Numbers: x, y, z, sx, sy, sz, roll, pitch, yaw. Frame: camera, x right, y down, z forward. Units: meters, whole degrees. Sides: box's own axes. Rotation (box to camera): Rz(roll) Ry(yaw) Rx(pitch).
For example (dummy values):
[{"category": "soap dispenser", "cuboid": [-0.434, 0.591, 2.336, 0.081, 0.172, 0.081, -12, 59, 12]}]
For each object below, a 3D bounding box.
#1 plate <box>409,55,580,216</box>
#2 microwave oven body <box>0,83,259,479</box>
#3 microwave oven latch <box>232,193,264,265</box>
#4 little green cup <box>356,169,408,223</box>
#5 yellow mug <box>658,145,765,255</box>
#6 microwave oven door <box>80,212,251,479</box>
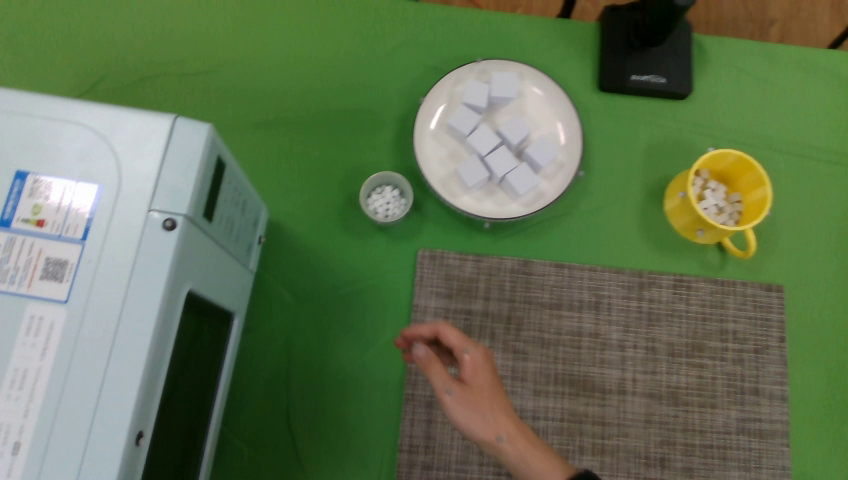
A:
[{"category": "plate", "cuboid": [0.085, -0.126, 0.745, 0.208, 0.039, 0.206, 1, 77, -3]}, {"category": "microwave oven body", "cuboid": [-0.368, 0.111, 0.544, 0.326, 0.261, 0.439, 9, 77, -2]}, {"category": "microwave oven latch", "cuboid": [-0.201, -0.014, 0.681, 0.030, 0.029, 0.079, 11, 78, -1]}, {"category": "little green cup", "cuboid": [-0.049, -0.050, 0.717, 0.061, 0.039, 0.061, 1, 78, -4]}, {"category": "yellow mug", "cuboid": [0.351, -0.042, 0.728, 0.100, 0.064, 0.130, -23, 80, -8]}, {"category": "microwave oven door", "cuboid": [-0.230, 0.174, 0.533, 0.039, 0.244, 0.354, 9, 77, -1]}]
